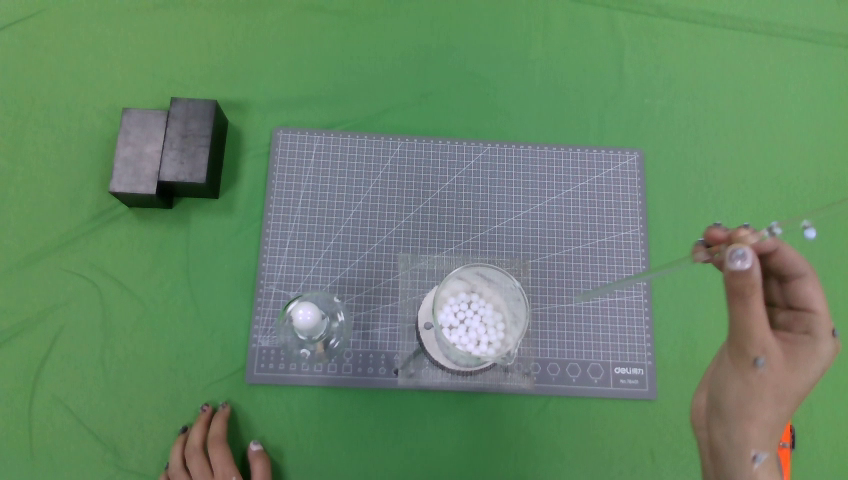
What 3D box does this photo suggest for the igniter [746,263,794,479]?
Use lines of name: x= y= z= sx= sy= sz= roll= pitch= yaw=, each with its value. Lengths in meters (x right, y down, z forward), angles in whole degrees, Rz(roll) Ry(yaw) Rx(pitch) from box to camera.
igniter: x=0.385 y=0.160 z=0.673 sx=0.057 sy=0.025 sz=0.275 roll=14 pitch=75 yaw=-11

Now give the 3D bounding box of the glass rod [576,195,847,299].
glass rod: x=0.167 y=0.011 z=0.379 sx=0.008 sy=0.199 sz=0.008 roll=12 pitch=65 yaw=-28

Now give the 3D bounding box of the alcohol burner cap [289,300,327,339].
alcohol burner cap: x=-0.113 y=0.075 z=0.580 sx=0.034 sy=0.048 sz=0.033 roll=1 pitch=70 yaw=-1

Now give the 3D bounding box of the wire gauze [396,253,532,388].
wire gauze: x=0.035 y=0.071 z=0.549 sx=0.125 sy=0.011 sz=0.121 roll=2 pitch=73 yaw=-1

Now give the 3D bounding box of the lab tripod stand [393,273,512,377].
lab tripod stand: x=0.031 y=0.091 z=0.612 sx=0.148 sy=0.132 sz=0.147 roll=0 pitch=74 yaw=-1

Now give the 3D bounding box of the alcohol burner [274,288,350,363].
alcohol burner: x=-0.115 y=0.084 z=0.615 sx=0.078 sy=0.119 sz=0.077 roll=1 pitch=73 yaw=-3

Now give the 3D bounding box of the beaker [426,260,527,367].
beaker: x=0.041 y=0.068 z=0.500 sx=0.074 sy=0.100 sz=0.083 roll=-29 pitch=77 yaw=-10
